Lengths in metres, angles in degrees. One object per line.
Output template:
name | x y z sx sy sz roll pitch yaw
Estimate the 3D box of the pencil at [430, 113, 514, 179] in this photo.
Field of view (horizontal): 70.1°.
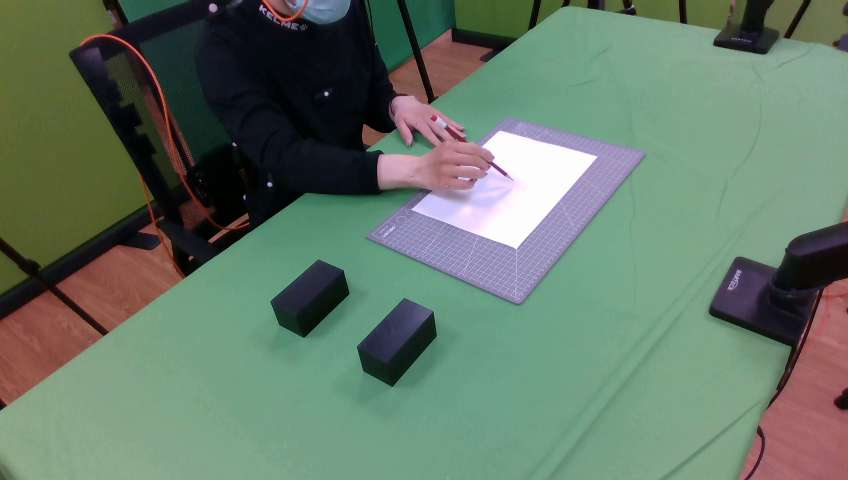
pencil | 0.086 -0.157 1.026 0.012 0.195 0.012 -41 30 30
